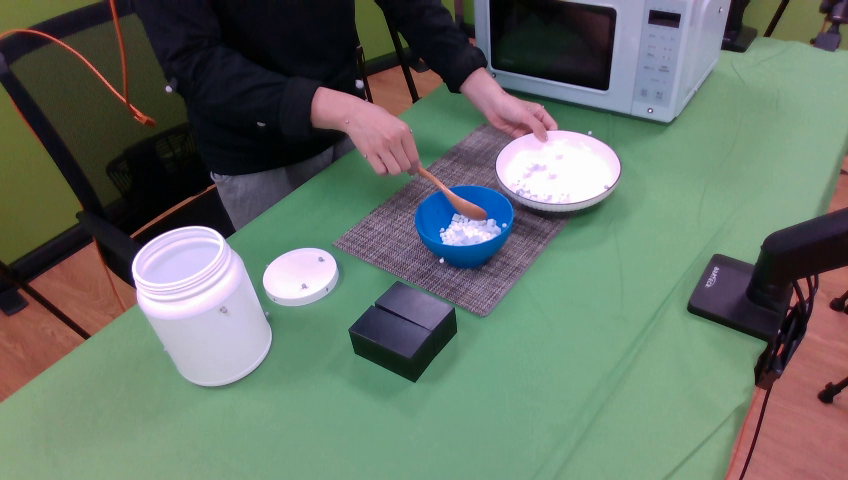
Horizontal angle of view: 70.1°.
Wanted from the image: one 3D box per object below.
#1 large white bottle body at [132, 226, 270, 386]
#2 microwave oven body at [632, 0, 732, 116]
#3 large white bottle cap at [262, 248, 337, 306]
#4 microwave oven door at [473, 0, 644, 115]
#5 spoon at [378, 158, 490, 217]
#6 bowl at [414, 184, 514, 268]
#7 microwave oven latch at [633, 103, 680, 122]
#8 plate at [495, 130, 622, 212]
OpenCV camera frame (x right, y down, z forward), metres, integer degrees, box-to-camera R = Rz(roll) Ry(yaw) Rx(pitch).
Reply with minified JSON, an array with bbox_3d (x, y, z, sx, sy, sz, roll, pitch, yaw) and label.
[{"bbox_3d":[-0.286,0.085,0.783,0.130,0.185,0.130,-4,41,4],"label":"large white bottle body"},{"bbox_3d":[0.377,-0.463,1.267,0.438,0.261,0.327,21,49,30],"label":"microwave oven body"},{"bbox_3d":[-0.193,0.056,0.934,0.115,0.018,0.114,-4,41,4],"label":"large white bottle cap"},{"bbox_3d":[0.257,-0.396,1.199,0.353,0.245,0.039,21,48,29],"label":"microwave oven door"},{"bbox_3d":[0.012,-0.080,0.907,0.193,0.042,0.021,32,79,17],"label":"spoon"},{"bbox_3d":[0.063,-0.010,0.922,0.151,0.077,0.150,-4,40,4],"label":"bowl"},{"bbox_3d":[0.443,-0.249,1.157,0.078,0.029,0.030,20,48,30],"label":"microwave oven latch"},{"bbox_3d":[0.224,-0.113,1.020,0.209,0.038,0.208,-3,44,3],"label":"plate"}]
